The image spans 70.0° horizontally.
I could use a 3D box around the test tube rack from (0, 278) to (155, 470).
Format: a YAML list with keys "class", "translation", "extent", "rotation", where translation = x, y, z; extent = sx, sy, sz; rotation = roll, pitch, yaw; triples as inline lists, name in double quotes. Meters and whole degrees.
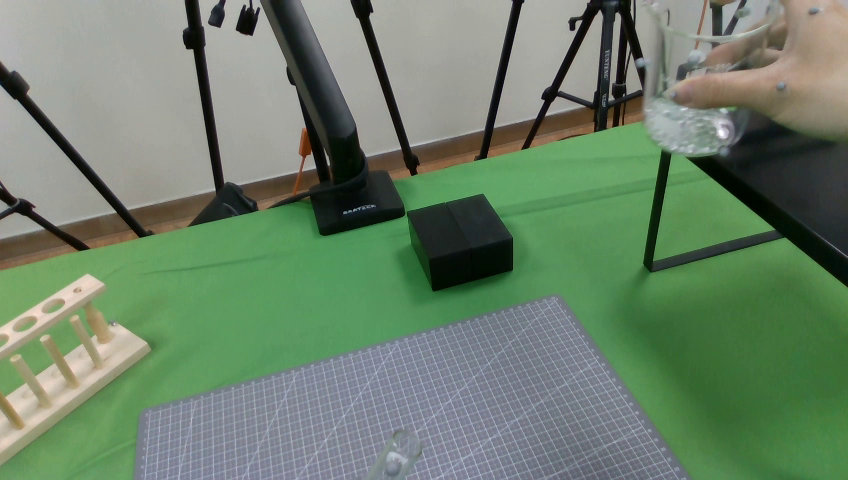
- class: "test tube rack"
  translation: [-0.397, 0.147, 0.584]
  extent: [0.066, 0.086, 0.242]
  rotation: [20, 44, 31]

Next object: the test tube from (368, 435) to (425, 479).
- class: "test tube"
  translation: [-0.041, 0.150, 0.297]
  extent: [0.017, 0.151, 0.017]
  rotation: [26, 24, -12]

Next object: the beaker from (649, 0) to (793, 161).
- class: "beaker"
  translation: [0.192, -0.112, 0.414]
  extent: [0.083, 0.101, 0.074]
  rotation: [26, 59, 31]
